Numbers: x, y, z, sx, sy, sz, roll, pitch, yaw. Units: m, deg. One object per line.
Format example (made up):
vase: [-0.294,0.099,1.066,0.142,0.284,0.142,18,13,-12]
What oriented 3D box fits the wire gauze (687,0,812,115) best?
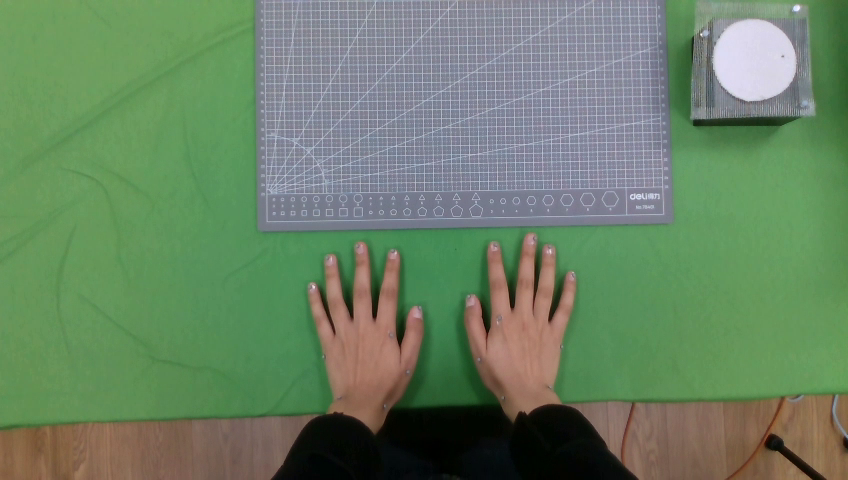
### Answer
wire gauze: [0.332,-0.188,0.619,0.121,0.011,0.125,2,87,2]
